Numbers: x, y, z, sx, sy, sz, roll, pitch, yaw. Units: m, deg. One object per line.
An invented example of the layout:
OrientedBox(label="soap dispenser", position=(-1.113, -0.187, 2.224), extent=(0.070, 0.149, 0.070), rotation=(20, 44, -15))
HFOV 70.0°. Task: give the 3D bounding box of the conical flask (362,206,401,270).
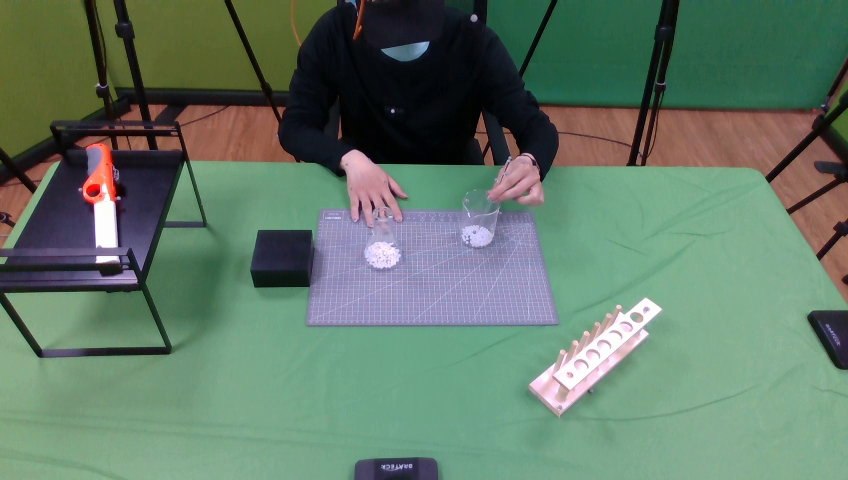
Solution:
OrientedBox(label="conical flask", position=(-0.078, -0.008, 1.126), extent=(0.075, 0.122, 0.075), rotation=(2, 46, -2))

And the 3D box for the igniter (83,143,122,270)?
OrientedBox(label="igniter", position=(-0.508, -0.063, 0.962), extent=(0.057, 0.025, 0.274), rotation=(-14, 53, -18))

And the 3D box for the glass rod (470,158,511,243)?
OrientedBox(label="glass rod", position=(0.126, -0.071, 1.153), extent=(0.008, 0.200, 0.008), rotation=(15, 35, -10))

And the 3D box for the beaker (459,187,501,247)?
OrientedBox(label="beaker", position=(0.106, -0.039, 1.186), extent=(0.074, 0.101, 0.084), rotation=(22, 50, 17))

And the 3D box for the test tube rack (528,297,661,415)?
OrientedBox(label="test tube rack", position=(0.285, 0.178, 1.005), extent=(0.242, 0.085, 0.066), rotation=(-31, 55, -29))
